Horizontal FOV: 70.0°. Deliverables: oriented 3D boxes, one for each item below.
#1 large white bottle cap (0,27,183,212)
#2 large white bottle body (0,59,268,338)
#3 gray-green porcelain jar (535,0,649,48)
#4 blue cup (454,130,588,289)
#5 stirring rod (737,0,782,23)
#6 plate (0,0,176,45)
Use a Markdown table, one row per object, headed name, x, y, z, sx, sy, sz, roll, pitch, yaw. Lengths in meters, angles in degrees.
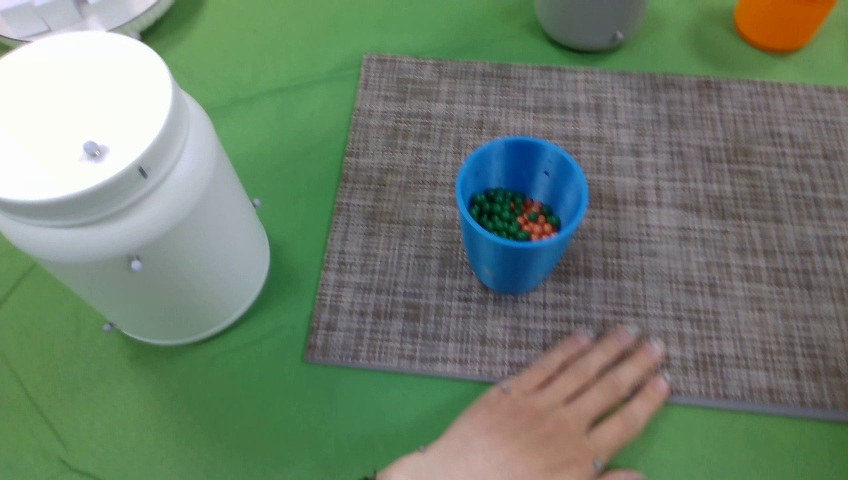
| name | x | y | z | sx | sy | sz | roll | pitch | yaw |
| --- | --- | --- | --- | --- | --- | --- | --- | --- | --- |
| large white bottle cap | -0.187 | -0.067 | 0.319 | 0.115 | 0.018 | 0.114 | 0 | 61 | 0 |
| large white bottle body | -0.186 | -0.025 | 0.393 | 0.130 | 0.186 | 0.129 | 0 | 62 | 0 |
| gray-green porcelain jar | 0.157 | -0.248 | 0.544 | 0.106 | 0.127 | 0.105 | 0 | 62 | 1 |
| blue cup | 0.064 | -0.012 | 0.428 | 0.092 | 0.101 | 0.092 | -1 | 62 | 2 |
| stirring rod | 0.369 | -0.250 | 0.538 | 0.176 | 0.006 | 0.014 | -30 | 58 | 33 |
| plate | -0.335 | -0.260 | 0.602 | 0.208 | 0.039 | 0.206 | 0 | 62 | 0 |
